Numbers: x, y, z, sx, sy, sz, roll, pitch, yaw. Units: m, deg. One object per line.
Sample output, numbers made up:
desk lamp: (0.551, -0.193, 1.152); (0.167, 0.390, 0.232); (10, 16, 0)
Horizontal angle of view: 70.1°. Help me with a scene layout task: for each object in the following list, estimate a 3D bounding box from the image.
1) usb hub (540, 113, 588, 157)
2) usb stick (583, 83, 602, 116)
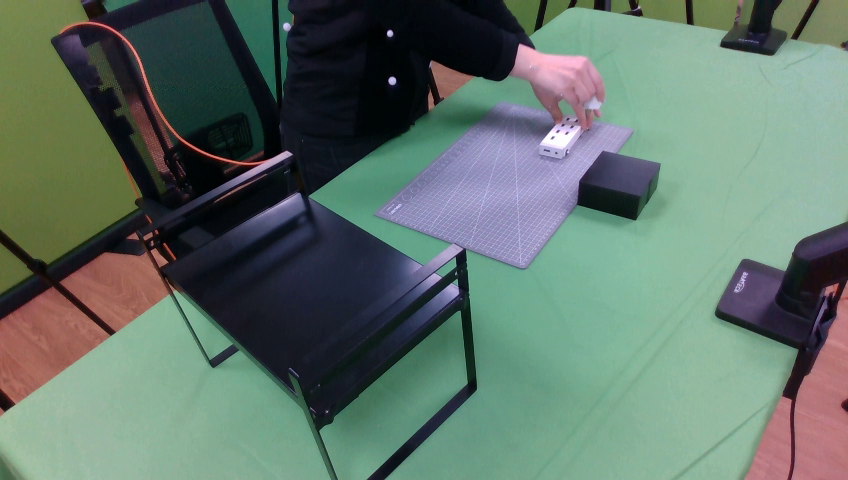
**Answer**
usb hub: (0.270, -0.203, 1.164); (0.049, 0.025, 0.125); (20, 47, 26)
usb stick: (0.292, -0.241, 1.044); (0.027, 0.059, 0.021); (12, 47, 28)
